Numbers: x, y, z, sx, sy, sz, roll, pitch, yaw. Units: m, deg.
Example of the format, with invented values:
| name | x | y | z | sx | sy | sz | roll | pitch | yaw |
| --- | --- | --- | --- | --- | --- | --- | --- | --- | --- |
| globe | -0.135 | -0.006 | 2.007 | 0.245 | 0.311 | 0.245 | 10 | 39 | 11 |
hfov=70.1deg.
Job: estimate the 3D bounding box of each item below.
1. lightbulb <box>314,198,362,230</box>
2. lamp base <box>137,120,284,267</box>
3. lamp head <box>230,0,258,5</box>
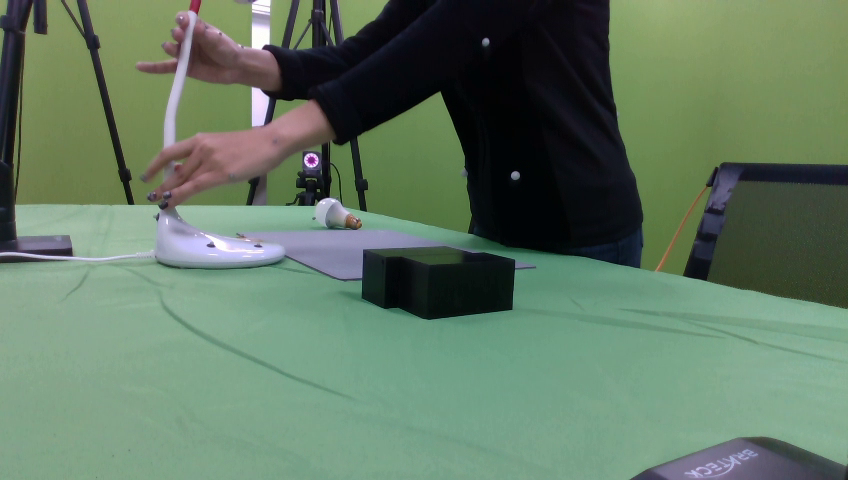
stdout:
| name | x | y | z | sx | sy | sz | roll | pitch | yaw |
| --- | --- | --- | --- | --- | --- | --- | --- | --- | --- |
| lightbulb | -0.172 | -0.047 | 1.219 | 0.107 | 0.059 | 0.060 | 23 | 15 | 22 |
| lamp base | -0.272 | -0.061 | 0.772 | 0.180 | 0.180 | 0.160 | -7 | 11 | -40 |
| lamp head | -0.257 | -0.376 | 0.773 | 0.112 | 0.112 | 0.123 | 5 | -2 | 26 |
